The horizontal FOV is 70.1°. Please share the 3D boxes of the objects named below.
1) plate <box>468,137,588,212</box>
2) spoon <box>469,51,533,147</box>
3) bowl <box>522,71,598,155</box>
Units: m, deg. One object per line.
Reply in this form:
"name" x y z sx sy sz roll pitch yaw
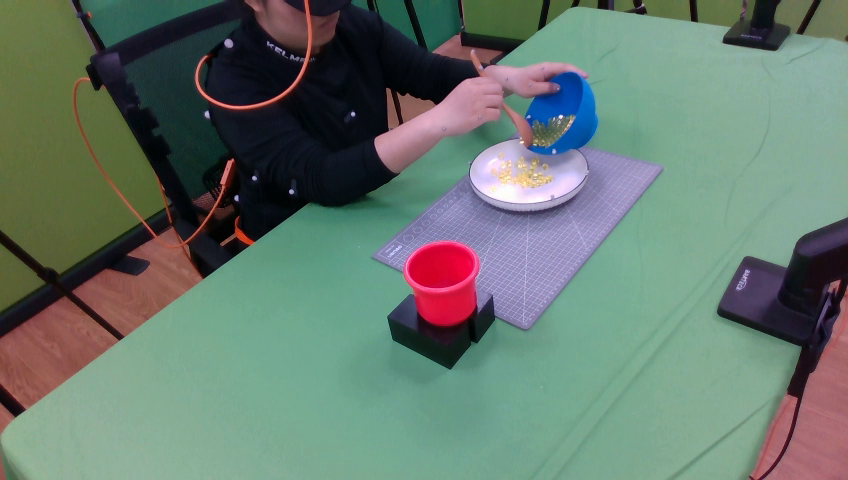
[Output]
"plate" 0.182 -0.112 1.064 0.207 0.039 0.206 -5 40 5
"spoon" 0.131 -0.238 1.027 0.021 0.195 0.041 -21 28 45
"bowl" 0.250 -0.209 1.057 0.077 0.151 0.150 23 30 -28
